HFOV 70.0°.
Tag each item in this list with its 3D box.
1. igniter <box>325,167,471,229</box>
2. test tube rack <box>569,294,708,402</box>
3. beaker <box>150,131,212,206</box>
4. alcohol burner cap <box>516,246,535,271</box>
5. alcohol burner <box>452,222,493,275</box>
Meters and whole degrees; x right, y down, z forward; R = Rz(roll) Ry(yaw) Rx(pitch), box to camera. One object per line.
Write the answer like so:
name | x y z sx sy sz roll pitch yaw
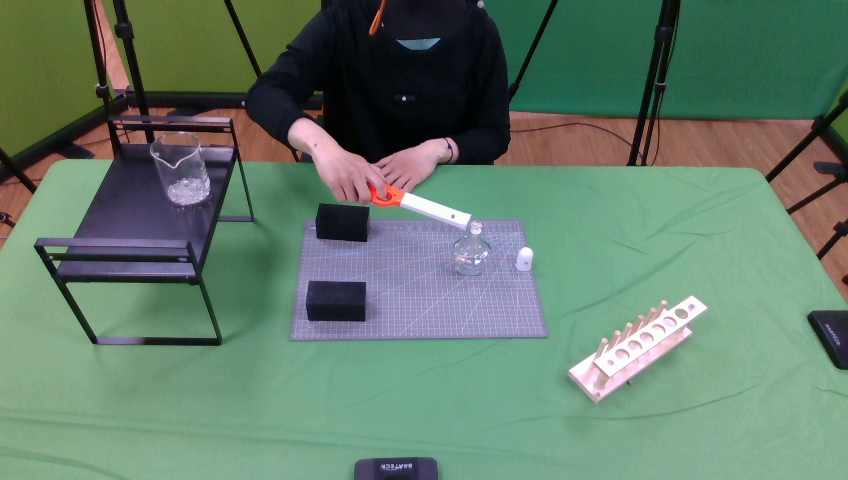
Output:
igniter | -0.049 -0.079 1.102 0.276 0.025 0.057 19 53 8
test tube rack | 0.360 0.167 1.015 0.242 0.085 0.066 -25 52 -25
beaker | -0.385 -0.110 0.969 0.074 0.101 0.083 -6 48 -9
alcohol burner cap | 0.195 0.032 1.158 0.034 0.048 0.033 2 45 -2
alcohol burner | 0.091 0.009 1.124 0.078 0.119 0.077 2 48 -2
